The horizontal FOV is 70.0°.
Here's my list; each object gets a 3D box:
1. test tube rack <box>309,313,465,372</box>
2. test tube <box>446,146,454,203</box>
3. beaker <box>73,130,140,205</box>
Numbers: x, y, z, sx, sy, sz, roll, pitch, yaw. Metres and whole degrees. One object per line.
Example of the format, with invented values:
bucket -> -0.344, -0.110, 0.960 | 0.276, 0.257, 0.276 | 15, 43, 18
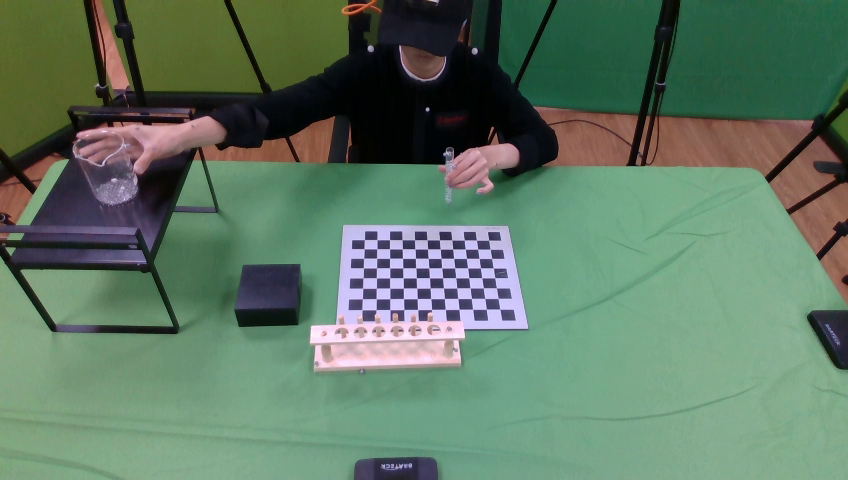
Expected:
test tube rack -> -0.059, 0.161, 0.990 | 0.242, 0.085, 0.066 | -1, 46, -5
test tube -> 0.050, -0.123, 1.173 | 0.017, 0.151, 0.017 | -1, 53, 1
beaker -> -0.500, -0.110, 0.964 | 0.074, 0.101, 0.083 | -14, 50, -16
